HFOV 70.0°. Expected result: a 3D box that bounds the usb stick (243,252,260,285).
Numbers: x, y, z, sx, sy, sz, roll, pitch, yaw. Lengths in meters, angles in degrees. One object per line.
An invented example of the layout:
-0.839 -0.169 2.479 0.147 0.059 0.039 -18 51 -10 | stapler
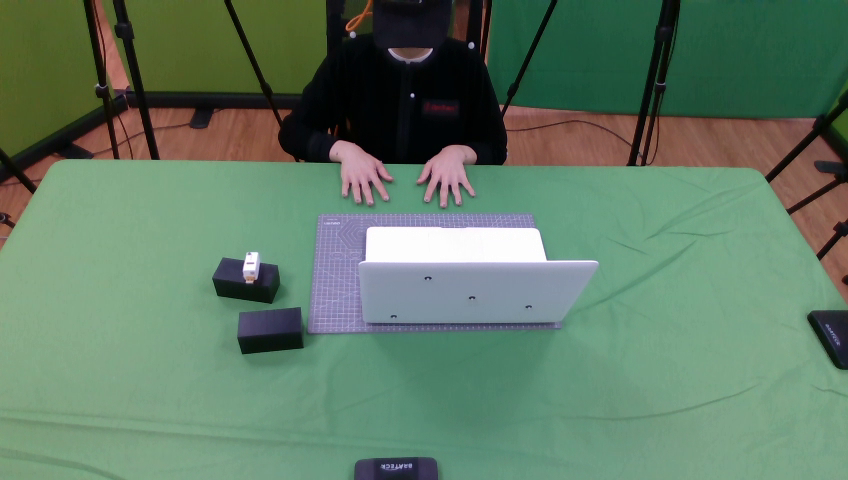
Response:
-0.301 0.050 1.055 0.021 0.027 0.059 1 48 -6 | usb stick

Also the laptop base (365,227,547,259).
0.064 0.062 1.144 0.355 0.023 0.234 0 43 -4 | laptop base

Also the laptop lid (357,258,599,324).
0.075 0.087 0.960 0.357 0.242 0.013 1 60 -5 | laptop lid
